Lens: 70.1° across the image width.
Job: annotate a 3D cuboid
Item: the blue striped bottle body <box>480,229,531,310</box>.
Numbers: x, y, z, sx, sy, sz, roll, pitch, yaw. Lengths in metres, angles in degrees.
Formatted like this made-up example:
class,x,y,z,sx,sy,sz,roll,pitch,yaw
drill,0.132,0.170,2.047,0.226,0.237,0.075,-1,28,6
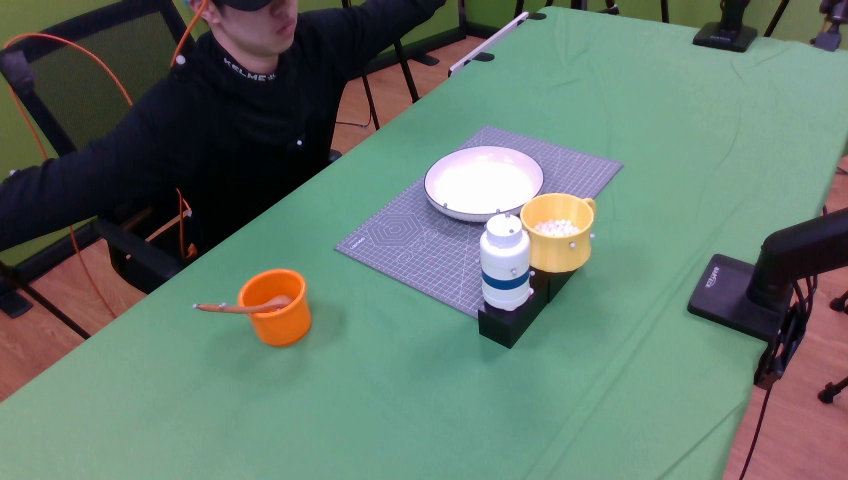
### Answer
class,x,y,z,sx,sy,sz,roll,pitch,yaw
blue striped bottle body,0.104,0.027,0.769,0.063,0.121,0.063,-4,40,4

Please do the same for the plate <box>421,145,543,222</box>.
class,x,y,z,sx,sy,sz,roll,pitch,yaw
plate,0.101,-0.094,1.048,0.207,0.039,0.206,-4,41,4

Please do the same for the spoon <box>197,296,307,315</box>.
class,x,y,z,sx,sy,sz,roll,pitch,yaw
spoon,-0.220,0.088,0.793,0.041,0.021,0.195,20,7,25

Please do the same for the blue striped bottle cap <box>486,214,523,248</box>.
class,x,y,z,sx,sy,sz,roll,pitch,yaw
blue striped bottle cap,0.098,-0.011,0.735,0.044,0.021,0.044,-3,38,3

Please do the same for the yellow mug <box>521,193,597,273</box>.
class,x,y,z,sx,sy,sz,roll,pitch,yaw
yellow mug,0.197,-0.019,0.852,0.131,0.064,0.099,-30,46,-25
